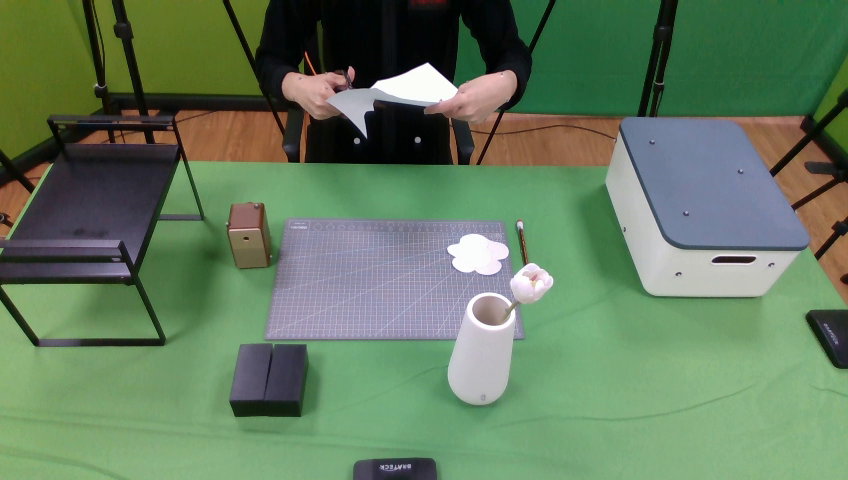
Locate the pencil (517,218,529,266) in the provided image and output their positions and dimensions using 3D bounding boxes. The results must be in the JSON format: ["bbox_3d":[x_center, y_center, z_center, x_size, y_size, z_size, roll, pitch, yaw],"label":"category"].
[{"bbox_3d":[0.200,0.027,1.196,0.012,0.012,0.193,1,48,-3],"label":"pencil"}]

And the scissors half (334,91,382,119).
[{"bbox_3d":[-0.116,-0.241,1.063,0.013,0.040,0.174,-15,8,-31],"label":"scissors half"}]

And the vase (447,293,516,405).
[{"bbox_3d":[0.091,0.169,0.921,0.098,0.201,0.097,3,47,-3],"label":"vase"}]

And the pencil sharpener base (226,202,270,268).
[{"bbox_3d":[-0.323,-0.010,1.123,0.061,0.107,0.076,-3,46,-7],"label":"pencil sharpener base"}]

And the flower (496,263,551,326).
[{"bbox_3d":[0.102,0.120,0.853,0.044,0.363,0.038,-2,64,-10],"label":"flower"}]

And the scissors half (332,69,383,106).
[{"bbox_3d":[-0.117,-0.262,1.056,0.013,0.040,0.174,-20,40,-29],"label":"scissors half"}]

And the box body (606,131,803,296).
[{"bbox_3d":[0.530,-0.067,1.204,0.254,0.161,0.361,1,46,-4],"label":"box body"}]

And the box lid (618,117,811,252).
[{"bbox_3d":[0.534,-0.117,1.149,0.263,0.015,0.369,0,47,-3],"label":"box lid"}]

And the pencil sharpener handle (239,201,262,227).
[{"bbox_3d":[-0.325,-0.055,1.150,0.036,0.068,0.030,-13,46,4],"label":"pencil sharpener handle"}]
